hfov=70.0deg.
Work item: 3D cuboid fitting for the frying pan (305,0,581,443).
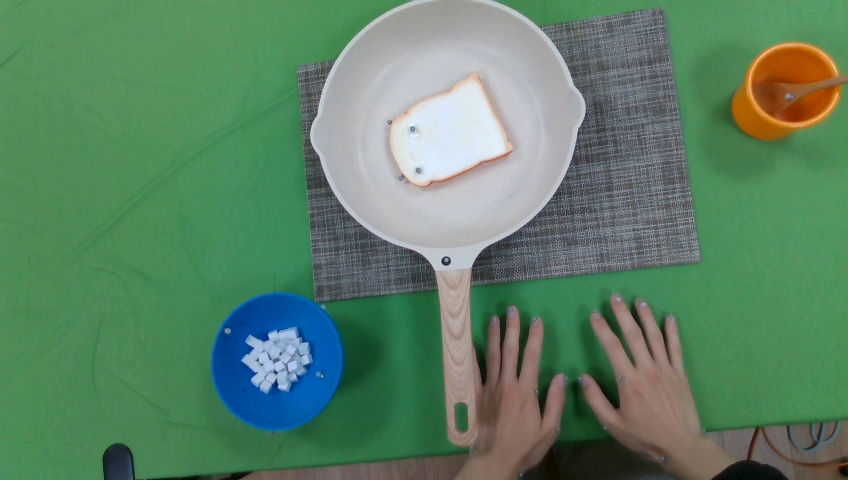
[{"bbox_3d":[0.025,-0.030,0.671,0.306,0.103,0.485,-4,76,9],"label":"frying pan"}]

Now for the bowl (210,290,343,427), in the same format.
[{"bbox_3d":[-0.158,0.133,0.700,0.151,0.077,0.151,-1,85,8],"label":"bowl"}]

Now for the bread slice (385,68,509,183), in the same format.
[{"bbox_3d":[0.022,-0.126,0.720,0.134,0.018,0.106,-28,81,3],"label":"bread slice"}]

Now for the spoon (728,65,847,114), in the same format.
[{"bbox_3d":[0.406,-0.164,0.609,0.022,0.193,0.041,5,83,-36],"label":"spoon"}]
